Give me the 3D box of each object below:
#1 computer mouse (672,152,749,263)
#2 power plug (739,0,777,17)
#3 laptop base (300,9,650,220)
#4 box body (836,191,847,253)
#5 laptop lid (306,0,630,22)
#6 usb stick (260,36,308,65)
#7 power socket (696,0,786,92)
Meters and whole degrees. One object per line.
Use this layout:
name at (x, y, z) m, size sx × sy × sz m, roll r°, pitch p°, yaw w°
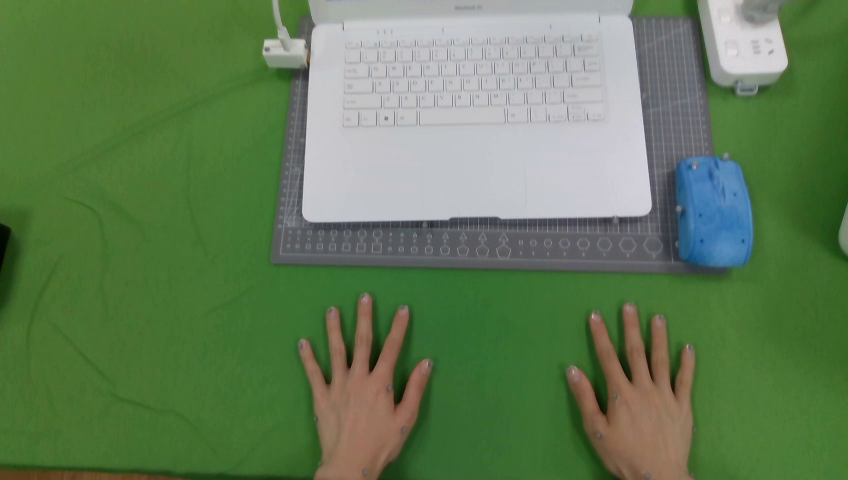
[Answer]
computer mouse at (0.278, -0.034, 0.590) m, size 0.063 × 0.041 × 0.116 m, roll 4°, pitch 69°, yaw 6°
power plug at (0.367, -0.247, 0.631) m, size 0.072 × 0.053 × 0.035 m, roll 9°, pitch 72°, yaw 4°
laptop base at (0.049, -0.134, 0.643) m, size 0.354 × 0.023 × 0.234 m, roll -1°, pitch 76°, yaw 2°
box body at (0.567, -0.113, 0.537) m, size 0.253 × 0.161 × 0.363 m, roll 24°, pitch 76°, yaw 10°
laptop lid at (0.042, -0.324, 0.587) m, size 0.356 × 0.244 × 0.013 m, roll -2°, pitch 49°, yaw 3°
usb stick at (-0.145, -0.207, 0.661) m, size 0.059 × 0.027 × 0.021 m, roll 3°, pitch 68°, yaw 1°
power socket at (0.338, -0.270, 0.664) m, size 0.072 × 0.033 × 0.225 m, roll -1°, pitch 73°, yaw 1°
